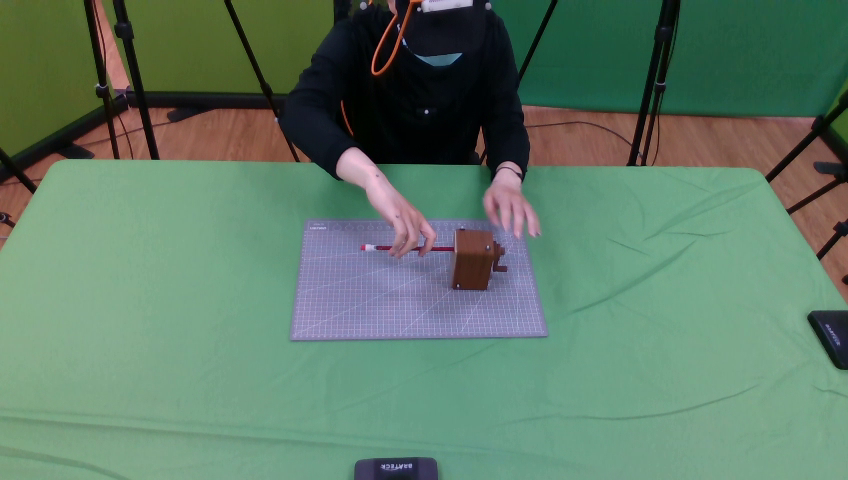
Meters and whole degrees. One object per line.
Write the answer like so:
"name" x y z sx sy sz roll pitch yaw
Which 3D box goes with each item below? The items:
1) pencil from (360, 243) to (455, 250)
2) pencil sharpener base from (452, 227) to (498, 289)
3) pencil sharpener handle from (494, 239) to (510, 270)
"pencil" -0.016 0.012 1.081 0.194 0.012 0.012 1 47 -2
"pencil sharpener base" 0.092 0.034 1.103 0.077 0.107 0.061 2 46 -1
"pencil sharpener handle" 0.143 0.029 1.094 0.030 0.068 0.036 2 42 -1
